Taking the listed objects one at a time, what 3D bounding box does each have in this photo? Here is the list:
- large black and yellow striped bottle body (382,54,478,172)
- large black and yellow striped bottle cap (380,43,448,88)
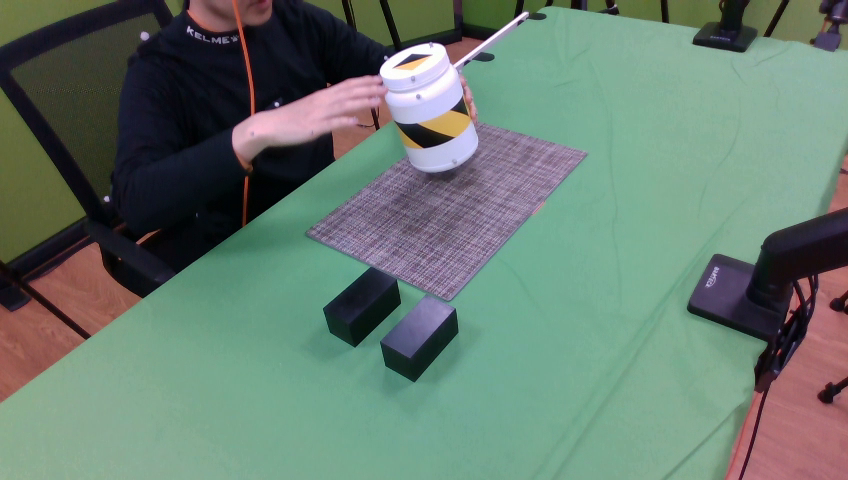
[{"bbox_3d":[0.009,-0.226,1.042,0.130,0.185,0.130,-14,38,12],"label":"large black and yellow striped bottle body"},{"bbox_3d":[-0.017,-0.287,0.991,0.115,0.019,0.114,-14,39,13],"label":"large black and yellow striped bottle cap"}]
